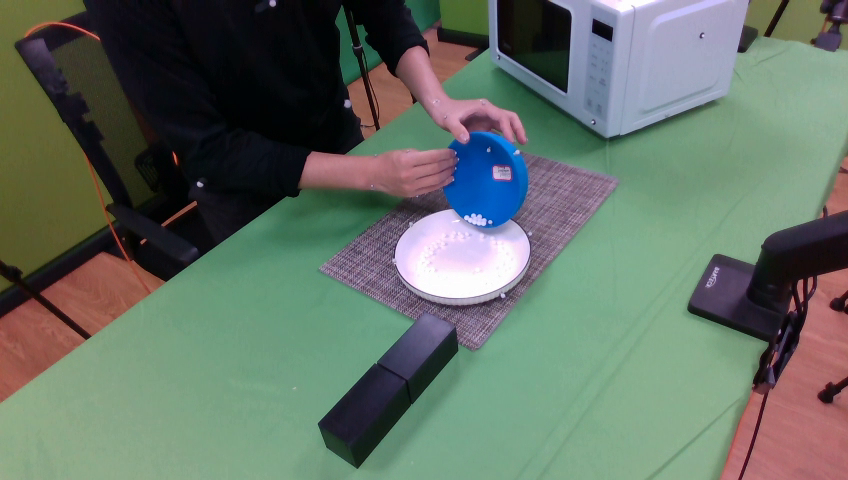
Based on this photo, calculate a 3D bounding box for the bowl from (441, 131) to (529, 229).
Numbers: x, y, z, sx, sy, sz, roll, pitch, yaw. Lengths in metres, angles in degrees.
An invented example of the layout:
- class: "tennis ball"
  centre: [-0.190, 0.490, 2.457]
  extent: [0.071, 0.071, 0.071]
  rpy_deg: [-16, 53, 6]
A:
- class: "bowl"
  centre: [0.108, -0.100, 0.935]
  extent: [0.150, 0.151, 0.077]
  rpy_deg: [26, 34, 33]

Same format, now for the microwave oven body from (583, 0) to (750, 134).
- class: "microwave oven body"
  centre: [0.382, -0.445, 1.246]
  extent: [0.327, 0.261, 0.437]
  rpy_deg: [-22, 42, -16]

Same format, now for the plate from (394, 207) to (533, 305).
- class: "plate"
  centre: [0.059, 0.025, 0.915]
  extent: [0.207, 0.039, 0.206]
  rpy_deg: [-4, 41, 4]

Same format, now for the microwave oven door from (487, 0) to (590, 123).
- class: "microwave oven door"
  centre: [0.232, -0.420, 1.230]
  extent: [0.039, 0.245, 0.352]
  rpy_deg: [-22, 43, -16]

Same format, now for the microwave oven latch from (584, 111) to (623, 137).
- class: "microwave oven latch"
  centre: [0.337, -0.222, 1.142]
  extent: [0.030, 0.029, 0.078]
  rpy_deg: [-21, 42, -14]
